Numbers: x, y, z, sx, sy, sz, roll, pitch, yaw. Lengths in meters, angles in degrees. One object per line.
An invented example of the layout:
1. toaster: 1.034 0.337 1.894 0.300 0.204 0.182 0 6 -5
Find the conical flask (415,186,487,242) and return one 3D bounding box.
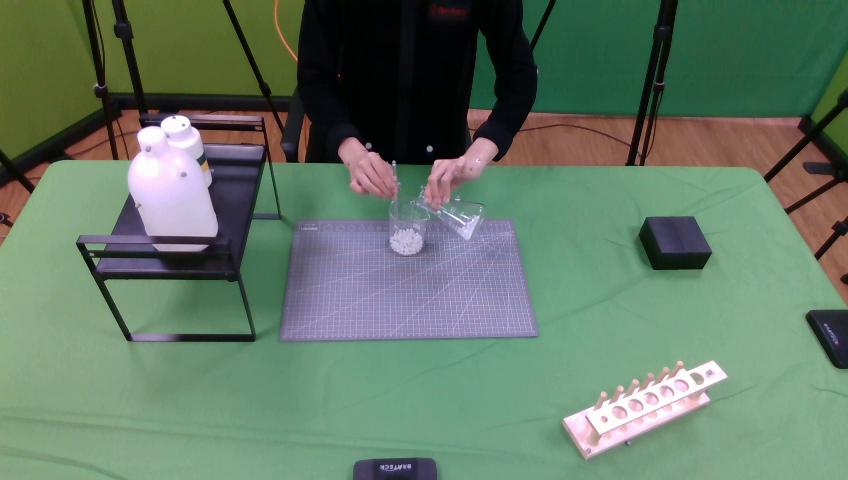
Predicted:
1. conical flask: 0.045 -0.054 1.088 0.122 0.075 0.075 26 49 8

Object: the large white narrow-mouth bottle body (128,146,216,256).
1. large white narrow-mouth bottle body: -0.366 -0.073 0.872 0.102 0.195 0.101 3 47 -3

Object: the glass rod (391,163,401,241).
1. glass rod: -0.050 -0.065 1.116 0.008 0.201 0.008 -1 48 1

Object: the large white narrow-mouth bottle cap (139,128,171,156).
1. large white narrow-mouth bottle cap: -0.358 -0.131 0.808 0.038 0.024 0.037 3 47 -3

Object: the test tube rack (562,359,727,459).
1. test tube rack: 0.341 0.247 0.940 0.243 0.085 0.066 -16 49 -19

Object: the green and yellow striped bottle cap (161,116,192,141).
1. green and yellow striped bottle cap: -0.387 -0.174 0.946 0.045 0.020 0.045 3 44 -3

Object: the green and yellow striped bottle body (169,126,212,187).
1. green and yellow striped bottle body: -0.389 -0.139 0.984 0.063 0.120 0.063 2 46 -2

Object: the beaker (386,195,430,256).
1. beaker: -0.031 -0.023 1.161 0.084 0.101 0.073 18 48 12
